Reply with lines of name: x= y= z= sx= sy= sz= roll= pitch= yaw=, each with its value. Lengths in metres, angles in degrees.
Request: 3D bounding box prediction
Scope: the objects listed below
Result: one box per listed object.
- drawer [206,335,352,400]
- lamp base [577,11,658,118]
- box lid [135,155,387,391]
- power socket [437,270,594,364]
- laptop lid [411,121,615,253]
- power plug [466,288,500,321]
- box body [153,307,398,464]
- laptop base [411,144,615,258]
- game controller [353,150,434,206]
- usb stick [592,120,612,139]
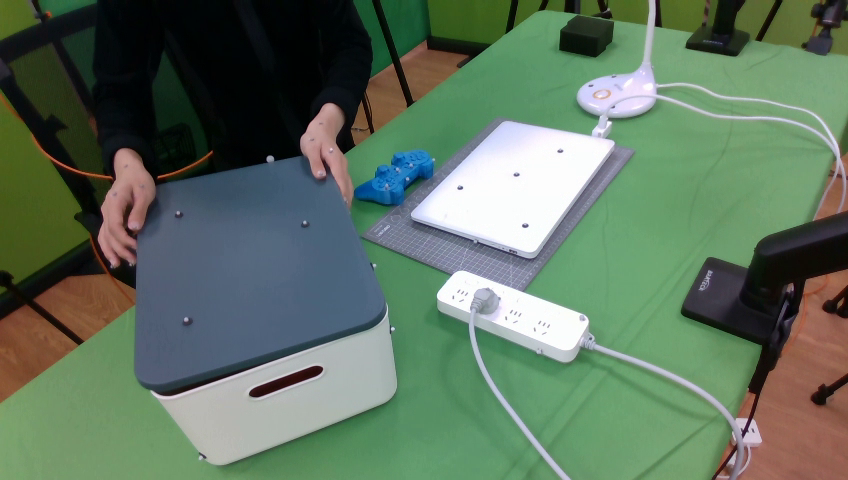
drawer: x=-0.177 y=0.129 z=0.787 sx=0.195 sy=0.073 sz=0.210 roll=-13 pitch=39 yaw=-10
lamp base: x=0.406 y=-0.363 z=1.222 sx=0.180 sy=0.181 sz=0.159 roll=-20 pitch=42 yaw=-18
box lid: x=-0.215 y=0.013 z=0.745 sx=0.264 sy=0.015 sz=0.368 roll=-15 pitch=41 yaw=-13
power socket: x=0.118 y=0.102 z=0.830 sx=0.225 sy=0.033 sz=0.072 roll=20 pitch=48 yaw=28
laptop lid: x=0.164 y=-0.112 z=1.068 sx=0.240 sy=0.013 sz=0.357 roll=19 pitch=46 yaw=31
power plug: x=0.072 y=0.093 z=0.813 sx=0.035 sy=0.053 sz=0.073 roll=30 pitch=54 yaw=35
box body: x=-0.205 y=0.080 z=0.802 sx=0.255 sy=0.161 sz=0.361 roll=-18 pitch=41 yaw=-13
laptop base: x=0.167 y=-0.102 z=1.074 sx=0.234 sy=0.023 sz=0.355 roll=16 pitch=45 yaw=30
game controller: x=-0.051 y=-0.121 z=1.105 sx=0.096 sy=0.052 sz=0.155 roll=23 pitch=49 yaw=28
usb stick: x=0.335 y=-0.203 z=1.149 sx=0.021 sy=0.027 sz=0.059 roll=25 pitch=53 yaw=26
